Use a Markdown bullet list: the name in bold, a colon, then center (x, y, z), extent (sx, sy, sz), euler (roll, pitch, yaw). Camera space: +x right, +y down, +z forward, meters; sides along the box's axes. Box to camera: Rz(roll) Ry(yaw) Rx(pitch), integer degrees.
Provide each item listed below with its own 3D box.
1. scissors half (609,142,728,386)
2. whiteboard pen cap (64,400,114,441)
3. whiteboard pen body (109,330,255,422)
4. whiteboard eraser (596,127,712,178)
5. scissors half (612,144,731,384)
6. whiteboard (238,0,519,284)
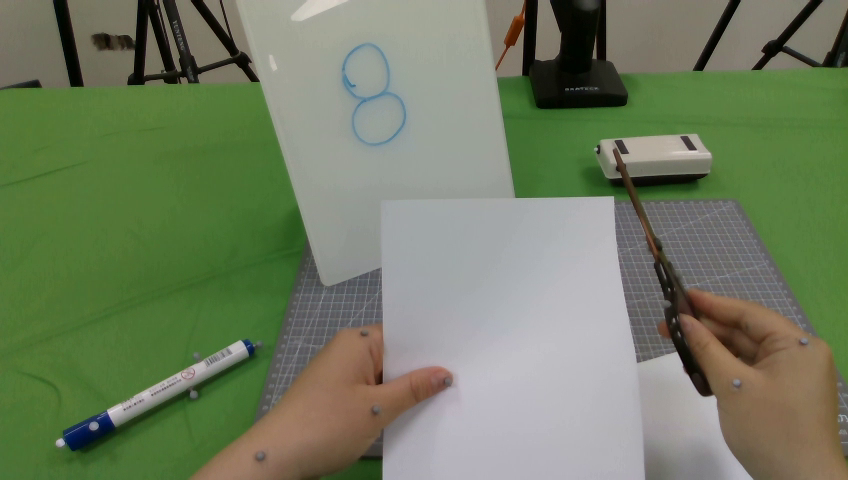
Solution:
- **scissors half**: center (0.151, 0.008, 0.390), extent (0.013, 0.040, 0.173), euler (-28, 62, 26)
- **whiteboard pen cap**: center (-0.244, 0.131, 0.446), extent (0.033, 0.018, 0.018), euler (-28, 47, -28)
- **whiteboard pen body**: center (-0.198, 0.109, 0.473), extent (0.141, 0.017, 0.017), euler (-29, 47, -28)
- **whiteboard eraser**: center (0.253, -0.096, 0.671), extent (0.113, 0.042, 0.055), euler (-2, 43, -1)
- **scissors half**: center (0.161, 0.012, 0.406), extent (0.013, 0.040, 0.174), euler (-25, 76, 21)
- **whiteboard**: center (-0.054, -0.150, 0.595), extent (0.217, 0.307, 0.142), euler (-20, 24, -18)
